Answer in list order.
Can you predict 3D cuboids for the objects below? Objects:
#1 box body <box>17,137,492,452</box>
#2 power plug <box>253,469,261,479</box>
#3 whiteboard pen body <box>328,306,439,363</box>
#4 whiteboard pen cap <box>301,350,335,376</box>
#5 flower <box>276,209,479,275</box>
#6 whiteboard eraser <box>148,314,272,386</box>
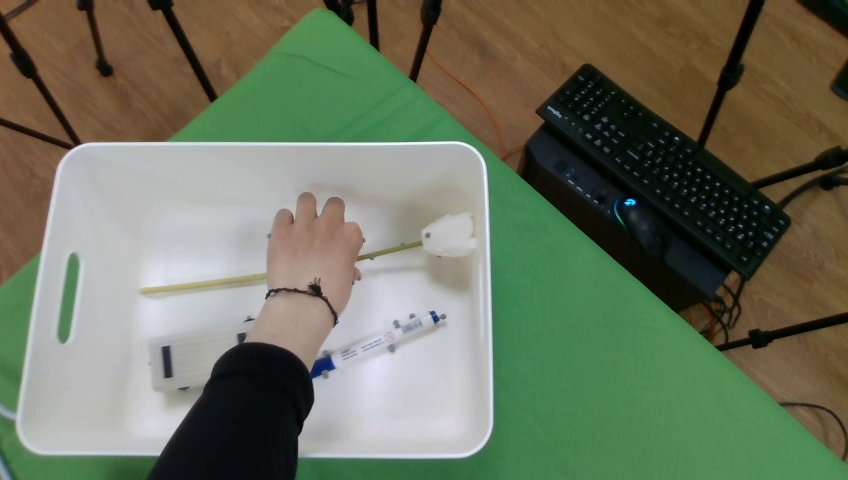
[{"bbox_3d":[-0.125,0.056,0.555,0.364,0.161,0.252,0,75,1],"label":"box body"},{"bbox_3d":[-0.142,0.248,0.547,0.035,0.053,0.072,13,71,7],"label":"power plug"},{"bbox_3d":[-0.052,0.099,0.609,0.141,0.017,0.017,-23,75,-3],"label":"whiteboard pen body"},{"bbox_3d":[-0.105,0.121,0.605,0.033,0.018,0.018,-23,75,-5],"label":"whiteboard pen cap"},{"bbox_3d":[-0.113,0.027,0.631,0.361,0.038,0.043,-13,69,14],"label":"flower"},{"bbox_3d":[-0.210,0.108,0.597,0.113,0.042,0.055,-8,76,-4],"label":"whiteboard eraser"}]
